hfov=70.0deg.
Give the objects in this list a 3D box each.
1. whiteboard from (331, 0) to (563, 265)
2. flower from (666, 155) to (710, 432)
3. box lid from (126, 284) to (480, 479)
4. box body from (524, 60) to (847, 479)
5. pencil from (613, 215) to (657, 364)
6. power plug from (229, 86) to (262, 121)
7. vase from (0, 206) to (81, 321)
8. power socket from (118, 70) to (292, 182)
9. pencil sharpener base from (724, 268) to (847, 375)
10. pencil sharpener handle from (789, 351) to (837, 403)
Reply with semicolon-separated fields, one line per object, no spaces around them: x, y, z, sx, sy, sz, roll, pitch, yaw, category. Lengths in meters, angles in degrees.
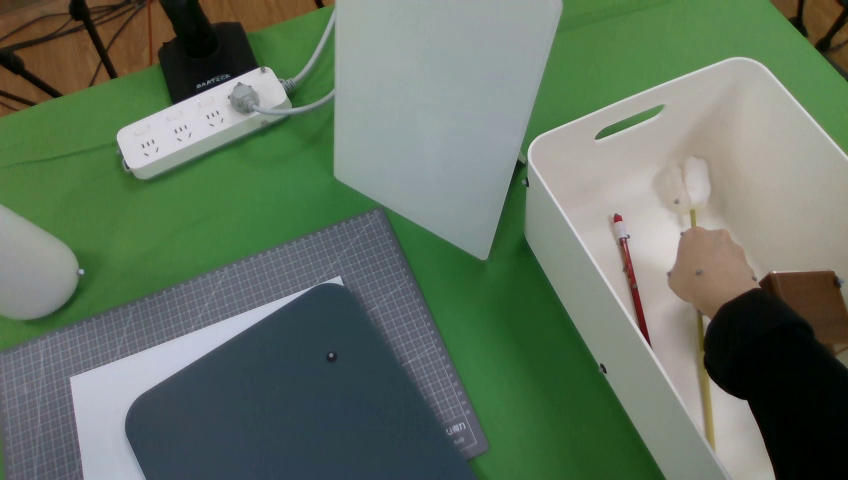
0.034;-0.162;0.636;0.216;0.308;0.143;30;50;17;whiteboard
0.274;0.073;0.617;0.044;0.038;0.359;-9;61;35;flower
-0.100;0.237;0.573;0.263;0.015;0.368;-33;67;-13;box lid
0.278;0.044;0.565;0.254;0.161;0.360;-23;64;-8;box body
0.225;0.060;0.639;0.012;0.012;0.192;-6;65;1;pencil
-0.215;-0.156;0.739;0.035;0.053;0.072;-18;65;-6;power plug
-0.437;0.009;0.602;0.098;0.201;0.097;-2;63;4;vase
-0.273;-0.145;0.763;0.227;0.033;0.071;-27;66;-11;power socket
0.338;0.082;0.566;0.061;0.108;0.076;-2;63;1;pencil sharpener base
0.341;0.122;0.532;0.036;0.068;0.030;-8;62;12;pencil sharpener handle
